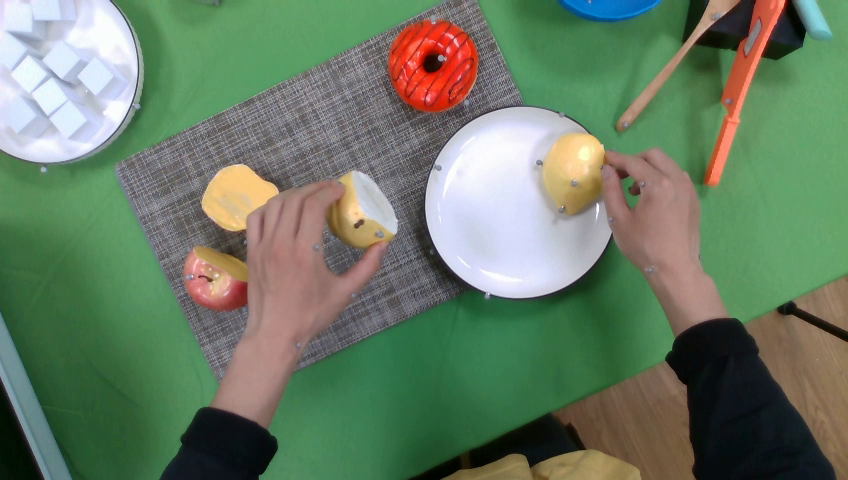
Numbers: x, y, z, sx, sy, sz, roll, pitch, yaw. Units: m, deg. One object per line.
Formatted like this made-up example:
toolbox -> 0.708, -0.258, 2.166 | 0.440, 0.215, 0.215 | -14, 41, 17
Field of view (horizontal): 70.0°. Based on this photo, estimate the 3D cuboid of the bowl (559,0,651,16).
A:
bowl -> 0.184, -0.299, 0.628 | 0.151, 0.077, 0.151 | 0, 93, 2

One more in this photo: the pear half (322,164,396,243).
pear half -> -0.067, -0.025, 0.564 | 0.056, 0.109, 0.076 | -41, 98, 12

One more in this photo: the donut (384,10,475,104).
donut -> 0.006, -0.196, 0.652 | 0.099, 0.048, 0.099 | 0, 94, 5

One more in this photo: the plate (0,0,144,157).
plate -> -0.410, -0.195, 0.676 | 0.207, 0.039, 0.207 | 0, 92, 2

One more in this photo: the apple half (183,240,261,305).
apple half -> -0.223, 0.041, 0.657 | 0.081, 0.074, 0.053 | 29, 97, -3

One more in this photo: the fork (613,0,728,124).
fork -> 0.265, -0.205, 0.624 | 0.028, 0.018, 0.208 | 33, 113, -6

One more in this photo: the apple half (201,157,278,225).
apple half -> -0.203, -0.047, 0.669 | 0.081, 0.033, 0.080 | 3, 69, -6

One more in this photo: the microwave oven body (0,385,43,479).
microwave oven body -> -0.602, 0.222, 0.586 | 0.326, 0.260, 0.442 | -23, 92, 2

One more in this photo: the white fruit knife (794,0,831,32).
white fruit knife -> 0.354, -0.301, 0.603 | 0.027, 0.016, 0.207 | -24, 89, -26

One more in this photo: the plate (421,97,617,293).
plate -> 0.101, -0.047, 0.658 | 0.209, 0.038, 0.209 | 0, 92, 2

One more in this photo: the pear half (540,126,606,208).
pear half -> 0.152, -0.076, 0.639 | 0.070, 0.031, 0.088 | 18, 103, 32

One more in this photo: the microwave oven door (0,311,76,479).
microwave oven door -> -0.451, 0.206, 0.575 | 0.039, 0.244, 0.355 | -23, 91, 3

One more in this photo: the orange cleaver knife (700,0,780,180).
orange cleaver knife -> 0.323, -0.167, 0.626 | 0.012, 0.077, 0.212 | 11, 118, 7
